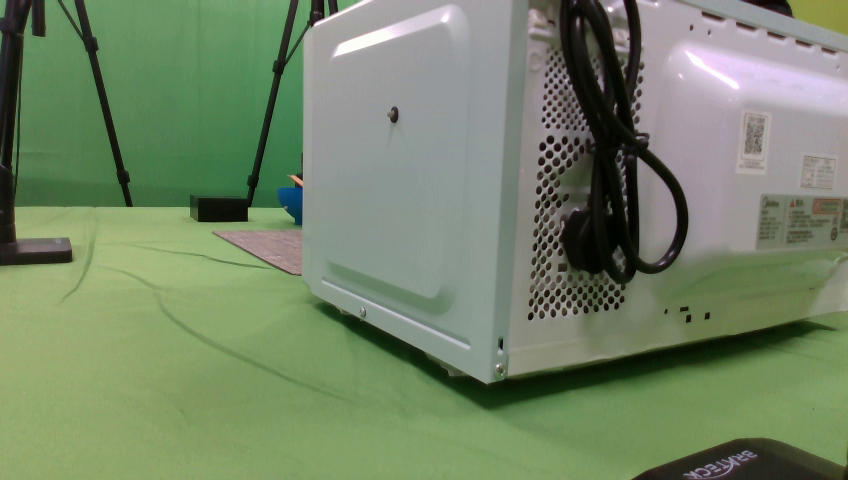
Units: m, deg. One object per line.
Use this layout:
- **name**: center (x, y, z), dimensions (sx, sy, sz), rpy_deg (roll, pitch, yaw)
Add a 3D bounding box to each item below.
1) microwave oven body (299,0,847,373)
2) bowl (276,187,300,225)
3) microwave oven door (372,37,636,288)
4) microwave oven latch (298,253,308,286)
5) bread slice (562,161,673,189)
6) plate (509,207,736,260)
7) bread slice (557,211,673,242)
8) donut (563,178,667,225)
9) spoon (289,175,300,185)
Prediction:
- **microwave oven body**: center (0.152, -0.055, 0.542), dimensions (0.444, 0.260, 0.324), rpy_deg (-2, 7, -33)
- **bowl**: center (-0.241, -0.073, 1.302), dimensions (0.151, 0.077, 0.151), rpy_deg (2, 7, 0)
- **microwave oven door**: center (0.110, -0.080, 0.686), dimensions (0.358, 0.243, 0.039), rpy_deg (-2, 9, -33)
- **microwave oven latch**: center (-0.081, 0.027, 0.582), dimensions (0.079, 0.029, 0.030), rpy_deg (-1, 7, -32)
- **bread slice**: center (0.185, -0.062, 0.579), dimensions (0.104, 0.019, 0.132), rpy_deg (6, 5, 15)
- **plate**: center (0.187, -0.008, 0.588), dimensions (0.208, 0.039, 0.207), rpy_deg (1, 6, 0)
- **bread slice**: center (0.185, -0.014, 0.580), dimensions (0.107, 0.018, 0.134), rpy_deg (-5, 4, 11)
- **donut**: center (0.185, -0.037, 0.587), dimensions (0.099, 0.048, 0.099), rpy_deg (-2, 4, 0)
- **spoon**: center (-0.261, -0.111, 1.343), dimensions (0.042, 0.021, 0.192), rpy_deg (-8, 34, -30)
